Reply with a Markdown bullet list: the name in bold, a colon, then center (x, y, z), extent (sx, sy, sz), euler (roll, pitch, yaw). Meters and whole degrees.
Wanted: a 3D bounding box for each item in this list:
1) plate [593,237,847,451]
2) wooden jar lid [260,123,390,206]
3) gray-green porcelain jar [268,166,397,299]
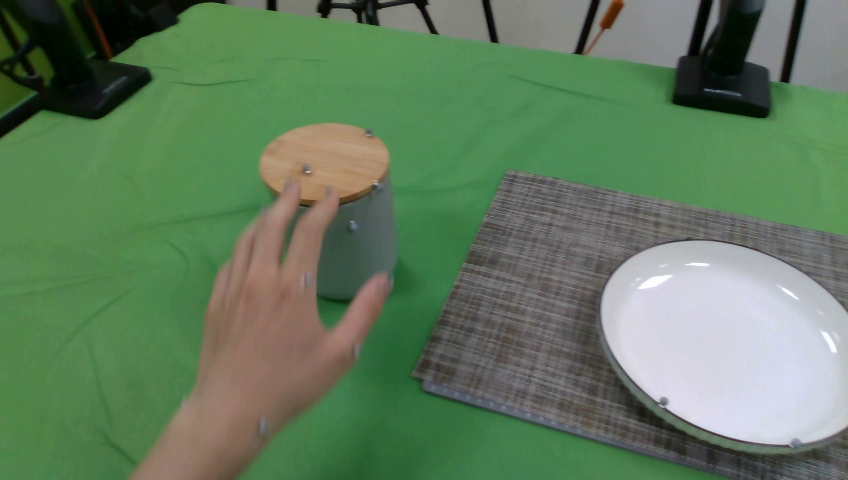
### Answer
- **plate**: center (0.244, 0.082, 0.504), extent (0.207, 0.039, 0.205), euler (-1, 45, 1)
- **wooden jar lid**: center (-0.083, -0.062, 0.514), extent (0.108, 0.021, 0.107), euler (2, 44, -1)
- **gray-green porcelain jar**: center (-0.080, -0.017, 0.560), extent (0.106, 0.127, 0.105), euler (-1, 45, 1)
